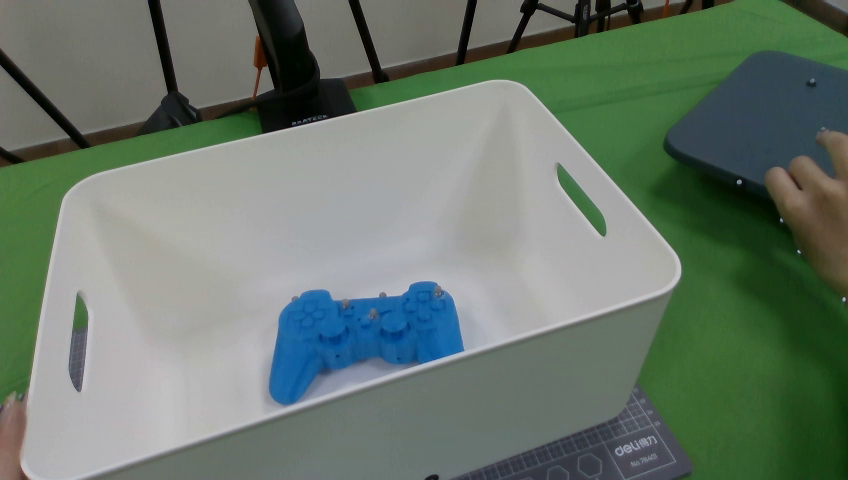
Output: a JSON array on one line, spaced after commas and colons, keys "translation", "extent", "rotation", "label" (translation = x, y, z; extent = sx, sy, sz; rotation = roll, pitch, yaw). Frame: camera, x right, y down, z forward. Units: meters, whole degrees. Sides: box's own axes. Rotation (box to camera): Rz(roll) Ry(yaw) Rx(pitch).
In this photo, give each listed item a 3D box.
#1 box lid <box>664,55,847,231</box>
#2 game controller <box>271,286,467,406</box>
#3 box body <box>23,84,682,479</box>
[{"translation": [0.449, -0.078, 0.576], "extent": [0.368, 0.015, 0.263], "rotation": [31, 54, 31], "label": "box lid"}, {"translation": [-0.044, 0.079, 0.488], "extent": [0.155, 0.052, 0.096], "rotation": [-4, 39, 2], "label": "game controller"}, {"translation": [-0.047, 0.047, 0.447], "extent": [0.364, 0.162, 0.251], "rotation": [-16, 45, -10], "label": "box body"}]
